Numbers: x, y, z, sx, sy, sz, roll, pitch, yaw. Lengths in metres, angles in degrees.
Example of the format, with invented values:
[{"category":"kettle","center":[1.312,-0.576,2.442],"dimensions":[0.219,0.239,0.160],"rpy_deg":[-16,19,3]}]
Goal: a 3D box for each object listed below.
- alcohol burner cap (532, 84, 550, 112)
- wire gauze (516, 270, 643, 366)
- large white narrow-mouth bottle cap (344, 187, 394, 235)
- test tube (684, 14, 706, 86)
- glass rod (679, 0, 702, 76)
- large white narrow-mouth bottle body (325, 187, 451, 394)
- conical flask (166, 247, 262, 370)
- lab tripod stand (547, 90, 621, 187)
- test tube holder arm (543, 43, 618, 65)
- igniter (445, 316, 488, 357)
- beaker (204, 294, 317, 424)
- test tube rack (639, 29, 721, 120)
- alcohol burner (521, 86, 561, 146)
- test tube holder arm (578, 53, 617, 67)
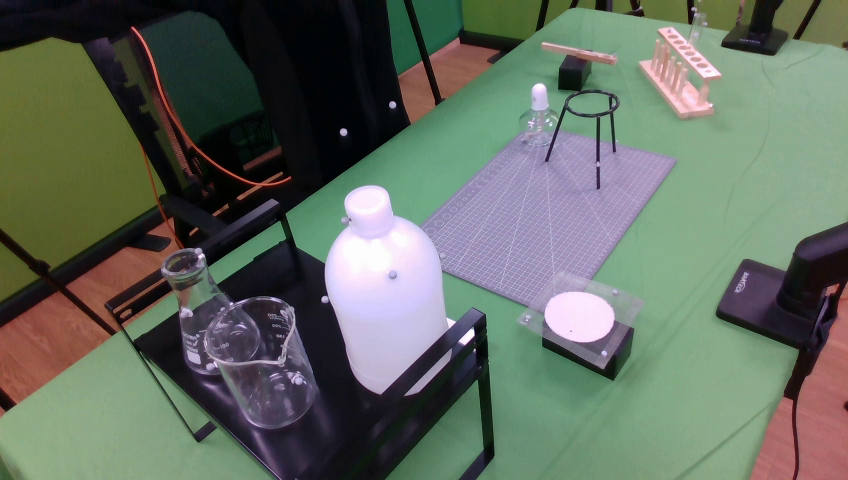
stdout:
[{"category":"alcohol burner cap","center":[0.218,-0.269,1.133],"dimensions":[0.034,0.048,0.033],"rpy_deg":[-8,36,7]},{"category":"wire gauze","center":[0.200,0.093,0.777],"dimensions":[0.124,0.011,0.122],"rpy_deg":[23,49,32]},{"category":"large white narrow-mouth bottle cap","center":[-0.042,-0.023,0.470],"dimensions":[0.038,0.024,0.037],"rpy_deg":[-4,40,4]},{"category":"test tube","center":[0.540,-0.378,1.215],"dimensions":[0.017,0.151,0.017],"rpy_deg":[-2,44,3]},{"category":"glass rod","center":[0.543,-0.417,1.233],"dimensions":[0.008,0.200,0.008],"rpy_deg":[1,40,0]},{"category":"large white narrow-mouth bottle body","center":[-0.033,0.040,0.527],"dimensions":[0.102,0.195,0.101],"rpy_deg":[-5,40,4]},{"category":"conical flask","center":[-0.209,0.064,0.584],"dimensions":[0.075,0.122,0.075],"rpy_deg":[-5,40,4]},{"category":"lab tripod stand","center":[0.288,-0.184,1.062],"dimensions":[0.148,0.132,0.147],"rpy_deg":[-6,41,6]},{"category":"test tube holder arm","center":[0.345,-0.413,1.341],"dimensions":[0.177,0.015,0.013],"rpy_deg":[25,50,31]},{"category":"igniter","center":[-0.030,0.095,0.872],"dimensions":[0.274,0.025,0.057],"rpy_deg":[23,60,31]},{"category":"beaker","center":[-0.137,0.110,0.536],"dimensions":[0.083,0.101,0.074],"rpy_deg":[30,53,36]},{"category":"test tube rack","center":[0.527,-0.351,1.262],"dimensions":[0.067,0.085,0.241],"rpy_deg":[-8,40,1]},{"category":"alcohol burner","center":[0.223,-0.241,1.155],"dimensions":[0.078,0.119,0.077],"rpy_deg":[-5,43,5]},{"category":"test tube holder arm","center":[0.376,-0.393,1.314],"dimensions":[0.087,0.015,0.010],"rpy_deg":[26,50,32]}]
